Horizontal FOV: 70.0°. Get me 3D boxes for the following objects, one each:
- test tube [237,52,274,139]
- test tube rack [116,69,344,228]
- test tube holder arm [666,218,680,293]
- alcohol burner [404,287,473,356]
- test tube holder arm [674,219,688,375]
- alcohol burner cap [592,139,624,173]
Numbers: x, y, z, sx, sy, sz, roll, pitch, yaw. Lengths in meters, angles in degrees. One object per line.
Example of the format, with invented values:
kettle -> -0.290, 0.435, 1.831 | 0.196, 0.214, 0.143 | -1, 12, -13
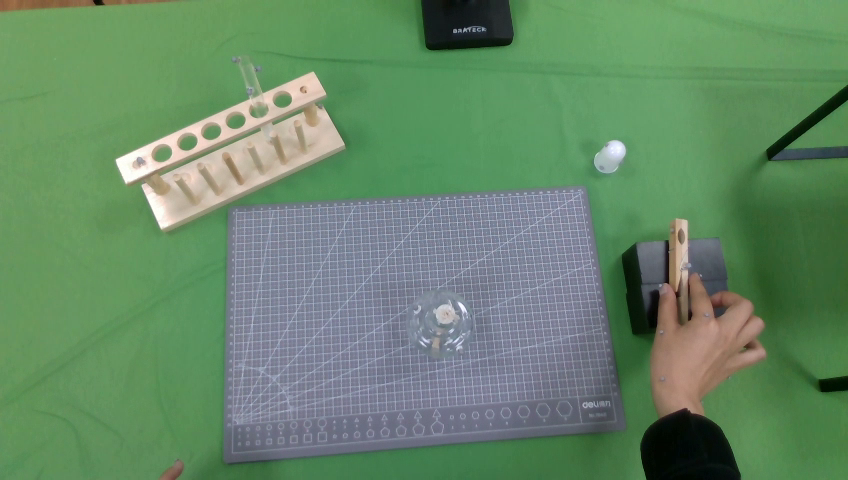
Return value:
test tube -> -0.188, -0.159, 0.689 | 0.017, 0.151, 0.017 | 1, 68, -3
test tube rack -> -0.223, -0.107, 0.724 | 0.242, 0.085, 0.066 | -27, 76, -10
test tube holder arm -> 0.286, 0.018, 0.695 | 0.010, 0.015, 0.087 | 5, 75, -1
alcohol burner -> 0.017, 0.086, 0.661 | 0.078, 0.119, 0.077 | 1, 74, -3
test tube holder arm -> 0.288, 0.062, 0.683 | 0.013, 0.015, 0.177 | 4, 75, -1
alcohol burner cap -> 0.236, -0.109, 0.768 | 0.034, 0.048, 0.033 | 0, 73, -1
